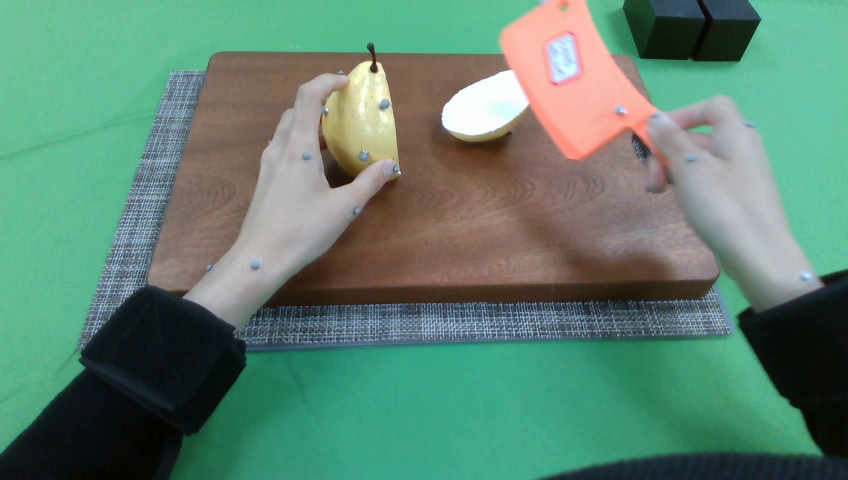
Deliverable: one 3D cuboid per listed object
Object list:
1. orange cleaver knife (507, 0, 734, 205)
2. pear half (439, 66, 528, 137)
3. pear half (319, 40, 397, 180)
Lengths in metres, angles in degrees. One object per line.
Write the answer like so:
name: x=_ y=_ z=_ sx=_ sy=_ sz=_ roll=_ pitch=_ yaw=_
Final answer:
orange cleaver knife: x=0.127 y=-0.094 z=0.424 sx=0.077 sy=0.012 sz=0.209 roll=-40 pitch=58 yaw=21
pear half: x=0.053 y=-0.110 z=0.504 sx=0.070 sy=0.031 sz=0.088 roll=24 pitch=54 yaw=28
pear half: x=-0.049 y=-0.095 z=0.439 sx=0.056 sy=0.111 sz=0.075 roll=-12 pitch=50 yaw=-12
